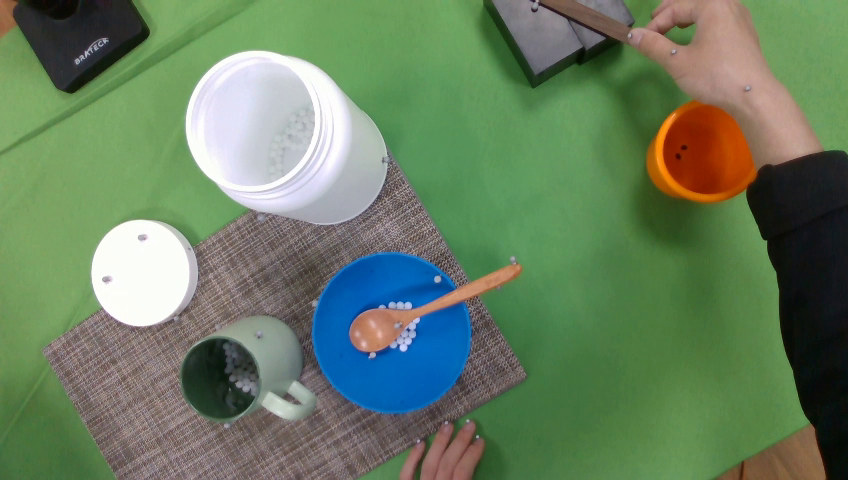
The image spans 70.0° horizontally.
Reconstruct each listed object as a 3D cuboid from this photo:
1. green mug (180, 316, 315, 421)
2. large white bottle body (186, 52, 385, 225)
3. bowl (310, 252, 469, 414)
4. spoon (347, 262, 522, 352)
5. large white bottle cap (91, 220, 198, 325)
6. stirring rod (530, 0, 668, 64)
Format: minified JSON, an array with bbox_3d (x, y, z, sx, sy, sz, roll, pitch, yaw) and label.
[{"bbox_3d":[-0.164,0.134,0.597,0.125,0.105,0.092,32,94,5],"label":"green mug"},{"bbox_3d":[-0.117,-0.084,0.545,0.130,0.185,0.130,0,87,9],"label":"large white bottle body"},{"bbox_3d":[-0.028,0.085,0.593,0.151,0.077,0.151,0,92,7],"label":"bowl"},{"bbox_3d":[0.006,0.062,0.560,0.193,0.021,0.041,-25,91,30],"label":"spoon"},{"bbox_3d":[-0.302,0.035,0.654,0.114,0.018,0.115,0,90,7],"label":"large white bottle cap"},{"bbox_3d":[0.140,-0.205,0.552,0.176,0.006,0.014,28,128,5],"label":"stirring rod"}]
